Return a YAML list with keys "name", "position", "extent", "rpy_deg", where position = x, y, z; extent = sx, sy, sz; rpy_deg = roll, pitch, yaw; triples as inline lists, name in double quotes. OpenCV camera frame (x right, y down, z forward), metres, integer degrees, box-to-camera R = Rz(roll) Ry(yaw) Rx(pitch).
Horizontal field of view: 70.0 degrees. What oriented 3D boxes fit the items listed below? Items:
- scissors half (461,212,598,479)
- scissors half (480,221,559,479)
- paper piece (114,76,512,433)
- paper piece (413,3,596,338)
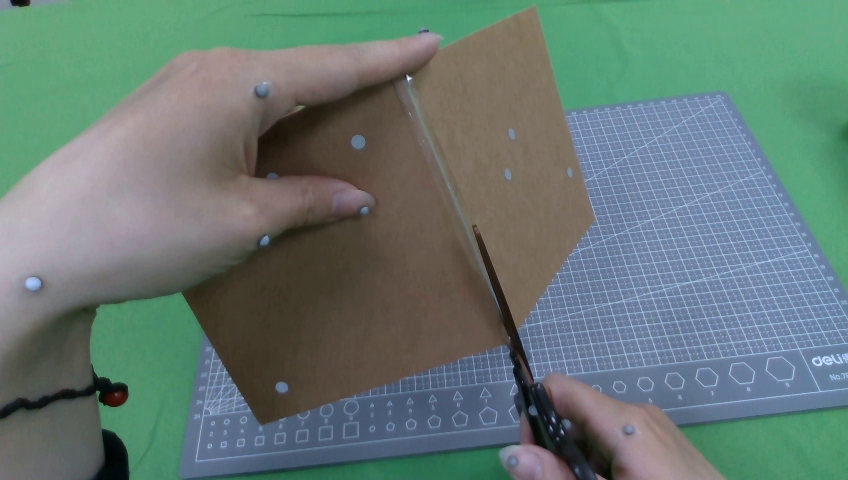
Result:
- name: "scissors half"
  position: [0.053, 0.066, 0.278]
  extent: [0.013, 0.040, 0.174]
  rpy_deg: [-22, 82, -8]
- name: "scissors half"
  position: [0.049, 0.062, 0.303]
  extent: [0.013, 0.177, 0.039]
  rpy_deg: [-22, 35, -4]
- name: "paper piece"
  position: [-0.048, 0.015, 0.277]
  extent: [0.138, 0.136, 0.008]
  rpy_deg: [-21, 15, 9]
- name: "paper piece"
  position: [0.053, -0.043, 0.313]
  extent: [0.004, 0.136, 0.135]
  rpy_deg: [-4, 24, 38]
